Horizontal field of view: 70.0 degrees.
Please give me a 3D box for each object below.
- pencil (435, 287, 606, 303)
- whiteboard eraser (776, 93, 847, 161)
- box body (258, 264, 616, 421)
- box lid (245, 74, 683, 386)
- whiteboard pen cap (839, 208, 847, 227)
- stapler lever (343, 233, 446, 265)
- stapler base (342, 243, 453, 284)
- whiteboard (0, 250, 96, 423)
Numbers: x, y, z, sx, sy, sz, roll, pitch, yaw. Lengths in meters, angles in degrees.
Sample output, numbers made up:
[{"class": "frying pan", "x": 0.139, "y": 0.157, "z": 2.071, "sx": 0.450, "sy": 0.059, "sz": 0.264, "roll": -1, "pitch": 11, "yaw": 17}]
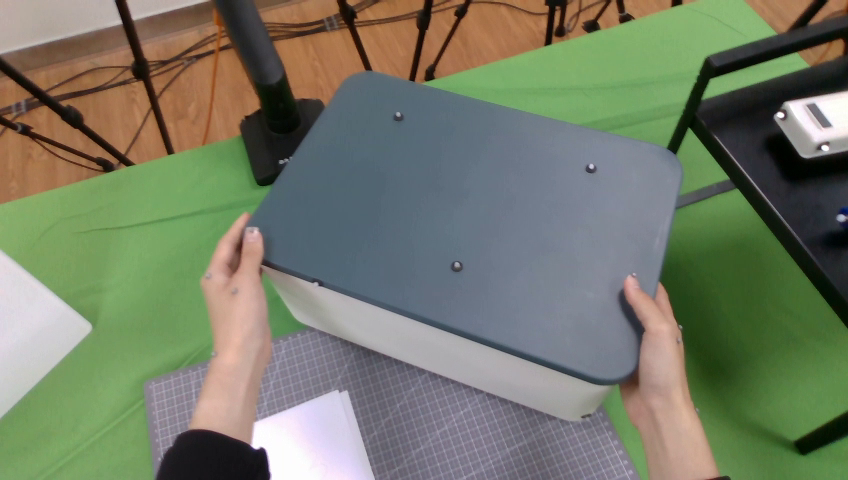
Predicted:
[{"class": "pencil", "x": 0.108, "y": 0.061, "z": 0.691, "sx": 0.194, "sy": 0.012, "sz": 0.012, "roll": 3, "pitch": 58, "yaw": 8}, {"class": "whiteboard eraser", "x": 0.390, "y": -0.105, "z": 0.556, "sx": 0.113, "sy": 0.042, "sz": 0.055, "roll": -10, "pitch": 60, "yaw": -4}, {"class": "box body", "x": 0.046, "y": 0.007, "z": 0.641, "sx": 0.363, "sy": 0.162, "sz": 0.252, "roll": 17, "pitch": 60, "yaw": 13}, {"class": "box lid", "x": 0.042, "y": -0.034, "z": 0.579, "sx": 0.370, "sy": 0.015, "sz": 0.262, "roll": 18, "pitch": 59, "yaw": 12}, {"class": "whiteboard pen cap", "x": 0.369, "y": -0.019, "z": 0.508, "sx": 0.033, "sy": 0.018, "sz": 0.018, "roll": -3, "pitch": 58, "yaw": -6}, {"class": "stapler lever", "x": -0.034, "y": 0.009, "z": 0.688, "sx": 0.118, "sy": 0.040, "sz": 0.026, "roll": 5, "pitch": 56, "yaw": 7}, {"class": "stapler base", "x": -0.031, "y": 0.023, "z": 0.710, "sx": 0.130, "sy": 0.024, "sz": 0.041, "roll": 6, "pitch": 56, "yaw": 6}, {"class": "whiteboard", "x": -0.535, "y": 0.058, "z": 0.587, "sx": 0.142, "sy": 0.309, "sz": 0.216, "roll": 21, "pitch": 60, "yaw": 37}]
